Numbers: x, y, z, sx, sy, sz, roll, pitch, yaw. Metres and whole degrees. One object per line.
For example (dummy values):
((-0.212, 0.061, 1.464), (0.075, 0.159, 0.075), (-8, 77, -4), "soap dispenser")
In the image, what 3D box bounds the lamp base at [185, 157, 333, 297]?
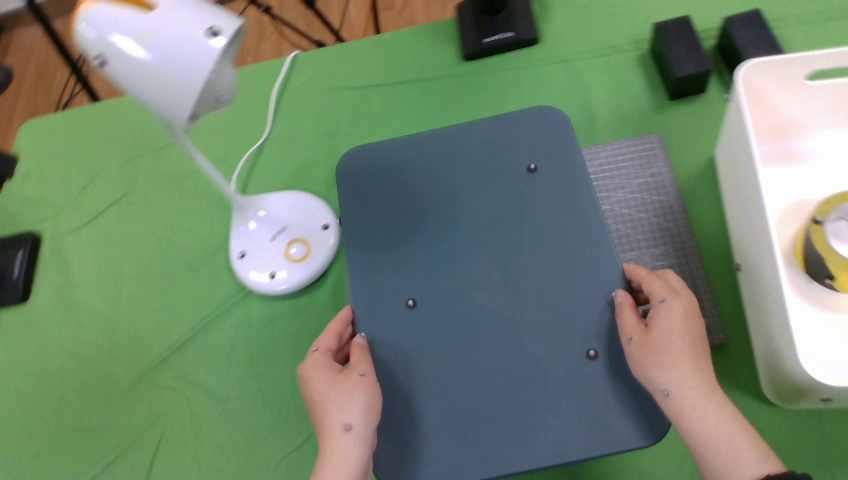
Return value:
((-0.232, -0.031, 0.797), (0.178, 0.182, 0.160), (26, 73, 25), "lamp base")

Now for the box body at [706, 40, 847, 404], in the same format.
((0.465, -0.018, 0.639), (0.254, 0.162, 0.361), (-5, 64, 11), "box body")

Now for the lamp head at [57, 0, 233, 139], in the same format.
((-0.245, -0.162, 0.527), (0.123, 0.112, 0.112), (24, 69, -13), "lamp head")

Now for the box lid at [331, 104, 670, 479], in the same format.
((0.053, 0.032, 0.588), (0.263, 0.015, 0.368), (-13, 63, 2), "box lid")

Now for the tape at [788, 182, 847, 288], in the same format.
((0.480, -0.006, 0.685), (0.116, 0.053, 0.116), (-5, 65, 10), "tape")
